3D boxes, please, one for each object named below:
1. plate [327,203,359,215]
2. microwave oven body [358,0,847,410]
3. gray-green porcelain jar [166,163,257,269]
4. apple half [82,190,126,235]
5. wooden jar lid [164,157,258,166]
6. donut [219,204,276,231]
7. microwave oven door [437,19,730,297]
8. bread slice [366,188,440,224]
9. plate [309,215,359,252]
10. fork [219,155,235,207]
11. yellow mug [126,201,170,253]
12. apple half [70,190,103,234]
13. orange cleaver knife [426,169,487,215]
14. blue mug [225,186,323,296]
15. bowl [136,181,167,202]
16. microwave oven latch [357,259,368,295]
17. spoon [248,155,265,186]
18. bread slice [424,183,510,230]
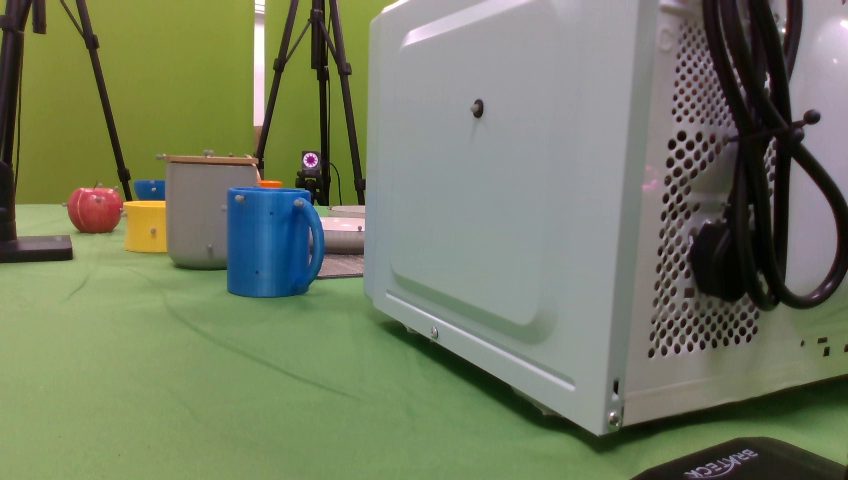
[{"bbox_3d":[-0.102,-0.053,1.299,0.209,0.038,0.209,2,8,0],"label":"plate"},{"bbox_3d":[0.210,-0.051,0.471,0.444,0.260,0.324,-1,7,-28],"label":"microwave oven body"},{"bbox_3d":[-0.263,-0.031,0.754,0.106,0.126,0.106,2,7,0],"label":"gray-green porcelain jar"},{"bbox_3d":[-0.516,-0.046,0.994,0.032,0.081,0.081,1,6,26],"label":"apple half"},{"bbox_3d":[-0.261,-0.093,0.746,0.108,0.020,0.108,0,9,0],"label":"wooden jar lid"},{"bbox_3d":[-0.316,-0.039,1.083,0.099,0.048,0.099,2,7,0],"label":"donut"},{"bbox_3d":[0.181,-0.076,0.618,0.358,0.243,0.039,-2,9,-28],"label":"microwave oven door"},{"bbox_3d":[-0.046,-0.063,1.138,0.107,0.018,0.134,-8,-16,-40],"label":"bread slice"},{"bbox_3d":[-0.130,-0.011,0.945,0.208,0.039,0.207,2,8,0],"label":"plate"},{"bbox_3d":[-0.459,-0.134,1.415,0.028,0.018,0.207,-1,-34,-24],"label":"fork"},{"bbox_3d":[-0.361,-0.019,0.866,0.130,0.064,0.100,6,9,27],"label":"yellow mug"},{"bbox_3d":[-0.552,-0.047,1.010,0.053,0.074,0.081,0,10,26],"label":"apple half"},{"bbox_3d":[0.063,-0.084,1.110,0.012,0.077,0.212,-1,-1,33],"label":"orange cleaver knife"},{"bbox_3d":[-0.148,0.000,0.618,0.116,0.106,0.083,7,9,33],"label":"blue mug"},{"bbox_3d":[-0.497,-0.076,1.221,0.151,0.077,0.151,2,8,0],"label":"bowl"},{"bbox_3d":[-0.019,0.031,0.530,0.079,0.029,0.030,-1,7,-27],"label":"microwave oven latch"},{"bbox_3d":[-0.417,-0.150,1.543,0.042,0.193,0.021,-3,-35,-34],"label":"spoon"},{"bbox_3d":[0.074,-0.055,0.986,0.131,0.019,0.105,-3,38,37],"label":"bread slice"}]
